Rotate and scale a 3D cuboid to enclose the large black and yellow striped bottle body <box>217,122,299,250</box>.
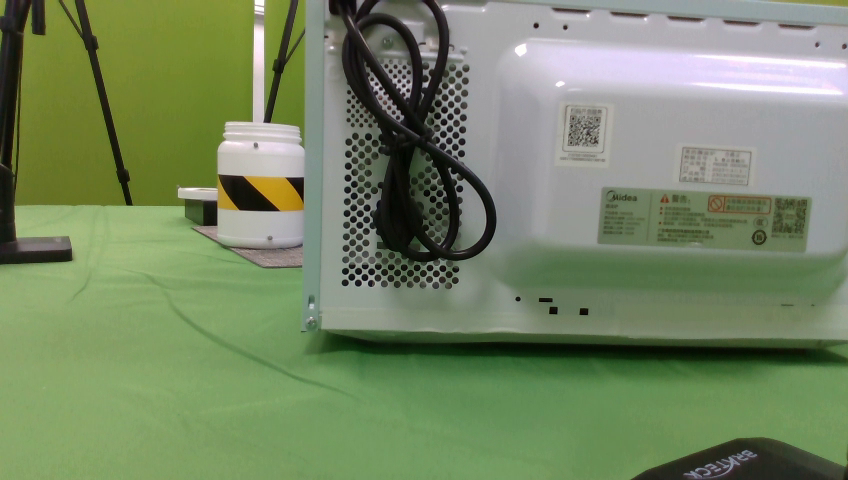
[{"bbox_3d":[-0.250,-0.084,0.931,0.131,0.184,0.130,2,7,0],"label":"large black and yellow striped bottle body"}]

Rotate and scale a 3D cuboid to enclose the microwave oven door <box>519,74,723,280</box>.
[{"bbox_3d":[0.255,-0.094,0.863,0.039,0.243,0.354,-1,8,-25],"label":"microwave oven door"}]

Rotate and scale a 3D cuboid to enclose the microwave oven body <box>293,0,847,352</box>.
[{"bbox_3d":[0.122,-0.055,0.550,0.442,0.260,0.325,3,7,-5],"label":"microwave oven body"}]

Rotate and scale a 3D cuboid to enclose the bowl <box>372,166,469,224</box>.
[{"bbox_3d":[-0.006,-0.070,0.952,0.151,0.077,0.151,2,14,0],"label":"bowl"}]

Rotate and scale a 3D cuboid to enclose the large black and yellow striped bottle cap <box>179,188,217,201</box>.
[{"bbox_3d":[-0.434,-0.093,1.226,0.115,0.019,0.115,3,9,0],"label":"large black and yellow striped bottle cap"}]

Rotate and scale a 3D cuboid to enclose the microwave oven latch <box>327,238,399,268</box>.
[{"bbox_3d":[-0.069,0.015,0.694,0.079,0.029,0.030,3,7,-3],"label":"microwave oven latch"}]
